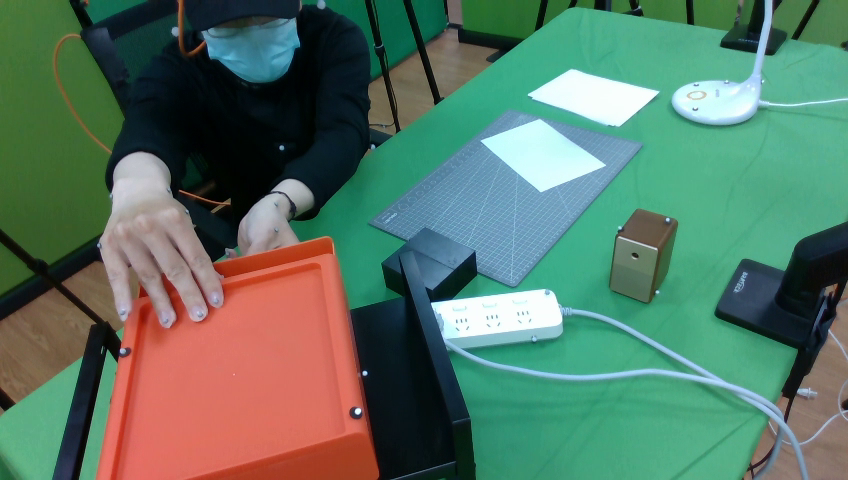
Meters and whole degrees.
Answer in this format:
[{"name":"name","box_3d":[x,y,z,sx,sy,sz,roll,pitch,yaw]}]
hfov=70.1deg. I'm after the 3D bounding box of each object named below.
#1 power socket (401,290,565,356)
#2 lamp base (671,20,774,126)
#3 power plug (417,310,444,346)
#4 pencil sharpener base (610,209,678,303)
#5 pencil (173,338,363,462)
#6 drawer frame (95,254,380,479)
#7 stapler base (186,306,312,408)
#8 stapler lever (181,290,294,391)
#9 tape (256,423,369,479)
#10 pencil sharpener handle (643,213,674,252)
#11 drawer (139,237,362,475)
[{"name":"power socket","box_3d":[0.080,0.112,0.822,0.227,0.033,0.072,-6,41,0]},{"name":"lamp base","box_3d":[0.581,-0.332,1.154,0.179,0.181,0.160,2,41,7]},{"name":"power plug","box_3d":[0.006,0.122,0.785,0.035,0.053,0.072,0,40,9]},{"name":"pencil sharpener base","box_3d":[0.304,0.021,0.839,0.061,0.107,0.077,21,48,30]},{"name":"pencil","box_3d":[-0.133,0.139,0.549,0.195,0.012,0.012,-30,45,-31]},{"name":"drawer frame","box_3d":[-0.156,0.124,0.527,0.202,0.083,0.212,-13,41,-8]},{"name":"stapler base","box_3d":[-0.172,0.106,0.588,0.131,0.024,0.041,-37,48,-19]},{"name":"stapler lever","box_3d":[-0.176,0.091,0.570,0.118,0.040,0.026,-35,48,-20]},{"name":"tape","box_3d":[-0.121,0.263,0.660,0.117,0.053,0.116,-4,39,4]},{"name":"pencil sharpener handle","box_3d":[0.337,-0.016,0.857,0.035,0.068,0.031,1,35,44]},{"name":"drawer","box_3d":[-0.163,0.106,0.553,0.195,0.073,0.210,-12,42,-6]}]
